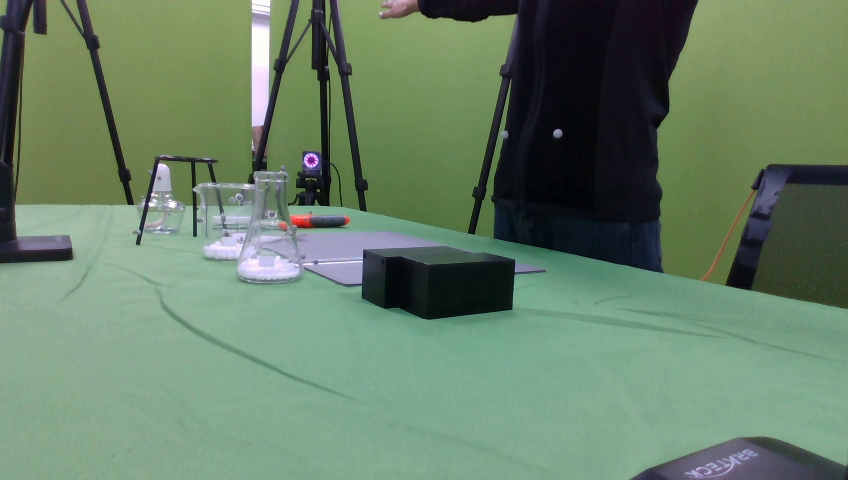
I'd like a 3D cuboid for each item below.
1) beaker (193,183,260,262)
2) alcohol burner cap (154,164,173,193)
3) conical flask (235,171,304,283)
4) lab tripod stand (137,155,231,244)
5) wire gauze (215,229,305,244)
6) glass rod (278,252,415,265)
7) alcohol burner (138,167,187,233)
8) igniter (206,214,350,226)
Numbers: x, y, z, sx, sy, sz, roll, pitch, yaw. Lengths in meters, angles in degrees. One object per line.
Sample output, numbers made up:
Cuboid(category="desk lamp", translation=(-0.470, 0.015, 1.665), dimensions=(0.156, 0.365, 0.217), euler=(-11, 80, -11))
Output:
Cuboid(category="beaker", translation=(-0.262, -0.025, 0.806), dimensions=(0.084, 0.100, 0.073), euler=(-3, 9, -30))
Cuboid(category="alcohol burner cap", translation=(-0.450, -0.106, 1.038), dimensions=(0.034, 0.048, 0.034), euler=(3, 13, 0))
Cuboid(category="conical flask", translation=(-0.172, -0.016, 0.677), dimensions=(0.075, 0.122, 0.075), euler=(2, 7, 0))
Cuboid(category="lab tripod stand", translation=(-0.358, -0.062, 0.927), dimensions=(0.148, 0.131, 0.148), euler=(4, 6, 0))
Cuboid(category="wire gauze", translation=(-0.273, -0.009, 1.013), dimensions=(0.122, 0.011, 0.124), euler=(-2, 9, -33))
Cuboid(category="glass rod", translation=(-0.097, 0.024, 0.805), dimensions=(0.201, 0.008, 0.008), euler=(-3, 8, -33))
Cuboid(category="alcohol burner", translation=(-0.450, -0.070, 1.044), dimensions=(0.078, 0.119, 0.078), euler=(5, 7, 0))
Cuboid(category="igniter", translation=(-0.279, -0.038, 1.185), dimensions=(0.278, 0.025, 0.057), euler=(-2, -1, -30))
